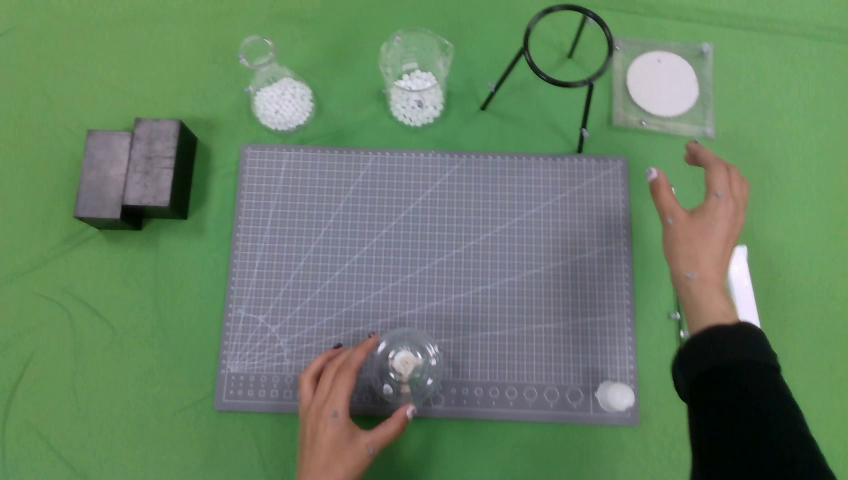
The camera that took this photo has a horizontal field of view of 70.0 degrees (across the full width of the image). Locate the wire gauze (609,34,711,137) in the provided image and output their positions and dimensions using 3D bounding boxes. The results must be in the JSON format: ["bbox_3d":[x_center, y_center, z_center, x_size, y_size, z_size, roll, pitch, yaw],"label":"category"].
[{"bbox_3d":[0.284,-0.189,0.728,0.125,0.011,0.121,7,78,-1],"label":"wire gauze"}]

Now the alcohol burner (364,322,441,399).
[{"bbox_3d":[-0.021,0.118,0.601,0.078,0.119,0.077,0,75,-1],"label":"alcohol burner"}]

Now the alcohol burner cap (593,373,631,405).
[{"bbox_3d":[0.198,0.155,0.631,0.034,0.048,0.033,0,77,0],"label":"alcohol burner cap"}]

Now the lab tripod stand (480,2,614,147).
[{"bbox_3d":[0.139,-0.180,0.660,0.148,0.132,0.147,0,79,1],"label":"lab tripod stand"}]

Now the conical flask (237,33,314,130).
[{"bbox_3d":[-0.167,-0.177,0.662,0.075,0.122,0.075,0,77,0],"label":"conical flask"}]

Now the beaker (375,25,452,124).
[{"bbox_3d":[-0.010,-0.180,0.677,0.084,0.100,0.073,-24,79,-6],"label":"beaker"}]

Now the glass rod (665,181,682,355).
[{"bbox_3d":[0.280,0.028,0.680,0.008,0.008,0.198,2,77,0],"label":"glass rod"}]

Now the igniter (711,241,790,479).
[{"bbox_3d":[0.347,0.136,0.646,0.057,0.025,0.275,-2,78,-12],"label":"igniter"}]
